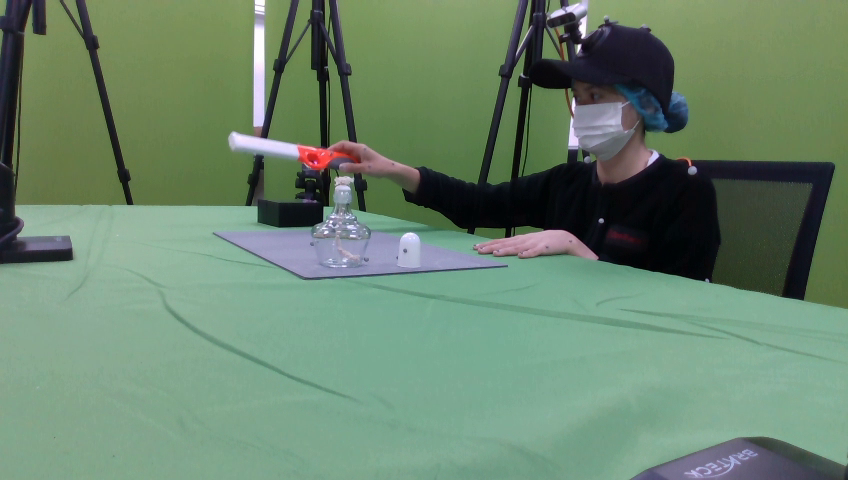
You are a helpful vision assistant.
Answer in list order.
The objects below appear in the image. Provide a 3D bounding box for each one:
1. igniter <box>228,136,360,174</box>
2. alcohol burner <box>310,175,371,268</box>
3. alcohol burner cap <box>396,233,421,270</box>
[{"bbox_3d":[-0.237,-0.161,1.154,0.278,0.057,0.025,4,-35,-44],"label":"igniter"},{"bbox_3d":[-0.107,-0.024,0.778,0.078,0.119,0.078,3,5,0],"label":"alcohol burner"},{"bbox_3d":[-0.020,0.014,0.795,0.034,0.048,0.034,2,6,0],"label":"alcohol burner cap"}]
